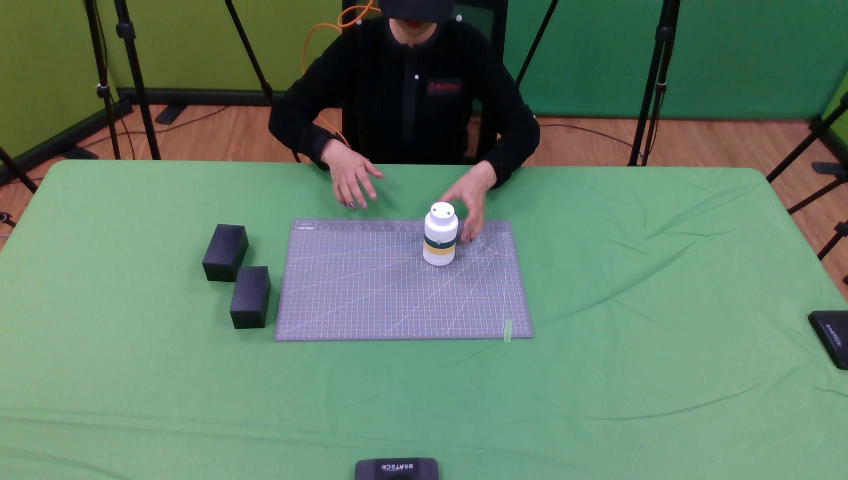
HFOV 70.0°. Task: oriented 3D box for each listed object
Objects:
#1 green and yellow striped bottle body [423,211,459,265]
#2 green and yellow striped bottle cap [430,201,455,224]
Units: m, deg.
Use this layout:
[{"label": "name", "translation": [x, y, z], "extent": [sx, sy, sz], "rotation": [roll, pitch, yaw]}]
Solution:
[{"label": "green and yellow striped bottle body", "translation": [0.032, -0.013, 1.139], "extent": [0.063, 0.120, 0.063], "rotation": [2, 46, -2]}, {"label": "green and yellow striped bottle cap", "translation": [0.034, -0.050, 1.102], "extent": [0.045, 0.020, 0.045], "rotation": [2, 48, -2]}]
